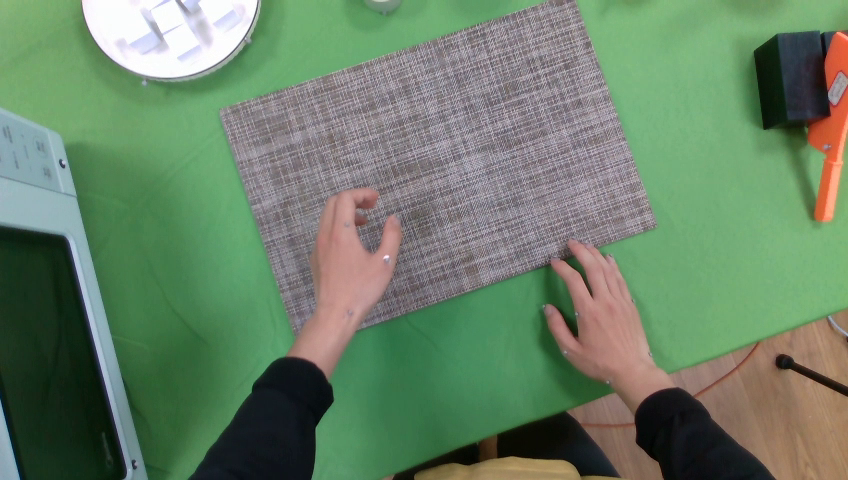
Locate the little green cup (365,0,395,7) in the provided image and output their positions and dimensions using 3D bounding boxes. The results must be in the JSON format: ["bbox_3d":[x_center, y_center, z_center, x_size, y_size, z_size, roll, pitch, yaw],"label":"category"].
[{"bbox_3d":[-0.053,-0.310,0.719,0.061,0.038,0.061,0,86,0],"label":"little green cup"}]

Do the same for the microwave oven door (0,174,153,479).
[{"bbox_3d":[-0.367,0.110,0.572,0.039,0.244,0.355,-16,87,-2],"label":"microwave oven door"}]

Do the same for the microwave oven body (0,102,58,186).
[{"bbox_3d":[-0.519,0.109,0.576,0.326,0.260,0.441,-16,88,-2],"label":"microwave oven body"}]

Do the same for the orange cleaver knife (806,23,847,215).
[{"bbox_3d":[0.463,-0.135,0.694,0.012,0.076,0.213,-4,116,1],"label":"orange cleaver knife"}]

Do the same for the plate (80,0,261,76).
[{"bbox_3d":[-0.293,-0.292,0.715,0.208,0.039,0.207,0,87,-1],"label":"plate"}]

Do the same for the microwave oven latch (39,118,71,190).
[{"bbox_3d":[-0.426,-0.095,0.684,0.030,0.029,0.079,-14,88,-2],"label":"microwave oven latch"}]
